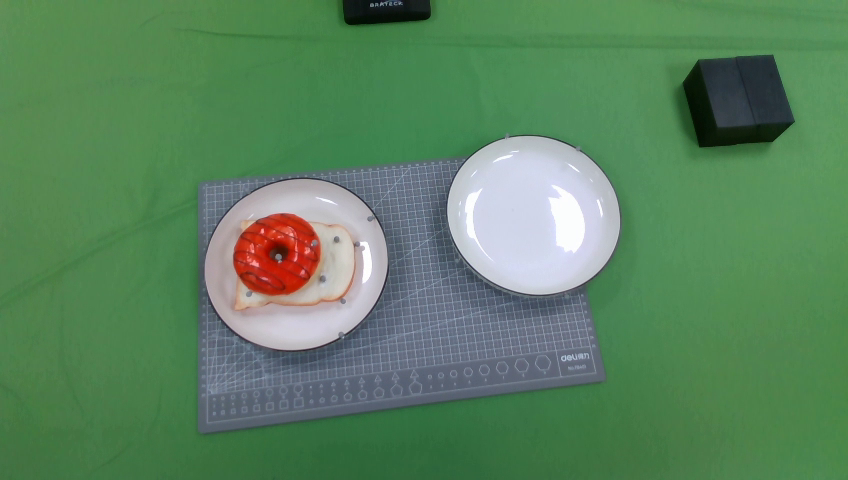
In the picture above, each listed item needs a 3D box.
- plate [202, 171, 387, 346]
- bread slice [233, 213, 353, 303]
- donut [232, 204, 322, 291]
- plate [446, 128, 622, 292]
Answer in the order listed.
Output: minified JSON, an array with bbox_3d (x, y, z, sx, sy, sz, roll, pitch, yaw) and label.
[{"bbox_3d":[-0.146,0.022,0.698,0.209,0.038,0.207,1,71,-2],"label":"plate"},{"bbox_3d":[-0.150,0.018,0.700,0.134,0.018,0.106,-4,72,-5],"label":"bread slice"},{"bbox_3d":[-0.163,0.008,0.673,0.099,0.048,0.098,0,72,-1],"label":"donut"},{"bbox_3d":[0.129,-0.035,0.727,0.208,0.039,0.206,1,71,-2],"label":"plate"}]
